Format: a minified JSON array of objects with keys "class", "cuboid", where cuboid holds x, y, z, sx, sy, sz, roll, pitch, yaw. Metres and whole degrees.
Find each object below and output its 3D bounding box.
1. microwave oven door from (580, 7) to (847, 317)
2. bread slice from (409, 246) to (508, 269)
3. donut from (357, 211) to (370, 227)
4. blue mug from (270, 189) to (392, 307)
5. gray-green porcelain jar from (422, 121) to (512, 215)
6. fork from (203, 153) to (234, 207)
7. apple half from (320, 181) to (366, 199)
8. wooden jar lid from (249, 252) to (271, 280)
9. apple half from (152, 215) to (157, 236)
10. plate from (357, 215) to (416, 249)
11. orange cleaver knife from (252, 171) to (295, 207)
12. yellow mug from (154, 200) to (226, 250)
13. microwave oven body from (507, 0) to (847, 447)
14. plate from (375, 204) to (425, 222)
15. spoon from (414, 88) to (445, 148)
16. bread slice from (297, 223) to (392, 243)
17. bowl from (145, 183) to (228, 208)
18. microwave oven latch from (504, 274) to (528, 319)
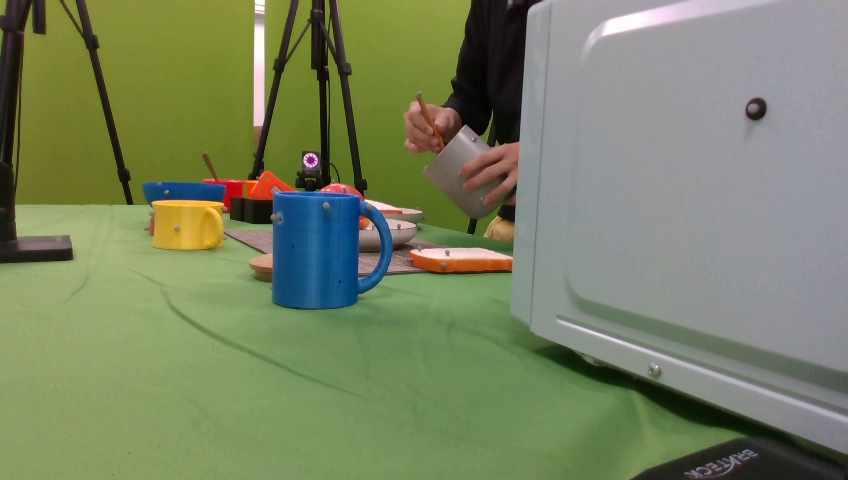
[{"class":"microwave oven door","cuboid":[0.295,-0.067,0.570,0.358,0.243,0.039,-3,9,-31]},{"class":"bread slice","cuboid":[0.048,0.022,0.816,0.132,0.019,0.104,0,7,-24]},{"class":"donut","cuboid":[-0.132,-0.042,0.959,0.099,0.048,0.099,3,8,0]},{"class":"blue mug","cuboid":[-0.090,0.005,0.588,0.117,0.106,0.082,0,7,-11]},{"class":"gray-green porcelain jar","cuboid":[0.078,-0.111,0.972,0.126,0.106,0.106,42,5,-5]},{"class":"fork","cuboid":[-0.480,-0.135,1.411,0.028,0.018,0.207,1,-34,0]},{"class":"apple half","cuboid":[-0.130,-0.077,0.952,0.081,0.033,0.081,3,15,-1]},{"class":"wooden jar lid","cuboid":[-0.148,0.028,0.708,0.108,0.020,0.108,0,10,0]},{"class":"apple half","cuboid":[-0.415,-0.034,1.017,0.081,0.053,0.074,1,10,-9]},{"class":"plate","cuboid":[-0.116,-0.014,0.967,0.208,0.039,0.207,2,7,0]},{"class":"orange cleaver knife","cuboid":[-0.283,-0.087,1.343,0.212,0.077,0.012,24,-16,-41]},{"class":"yellow mug","cuboid":[-0.337,-0.022,0.899,0.130,0.064,0.100,8,9,34]},{"class":"microwave oven body","cuboid":[0.331,-0.042,0.425,0.444,0.260,0.324,-2,8,-31]},{"class":"plate","cuboid":[-0.102,-0.053,1.299,0.209,0.038,0.209,2,8,0]},{"class":"spoon","cuboid":[0.027,-0.149,0.957,0.021,0.194,0.041,-22,14,-2]},{"class":"bread slice","cuboid":[-0.121,-0.013,0.970,0.106,0.018,0.135,10,11,41]},{"class":"bowl","cuboid":[-0.459,-0.069,1.175,0.151,0.077,0.151,2,7,0]},{"class":"microwave oven latch","cuboid":[0.100,0.041,0.471,0.079,0.029,0.030,-1,7,-28]}]
